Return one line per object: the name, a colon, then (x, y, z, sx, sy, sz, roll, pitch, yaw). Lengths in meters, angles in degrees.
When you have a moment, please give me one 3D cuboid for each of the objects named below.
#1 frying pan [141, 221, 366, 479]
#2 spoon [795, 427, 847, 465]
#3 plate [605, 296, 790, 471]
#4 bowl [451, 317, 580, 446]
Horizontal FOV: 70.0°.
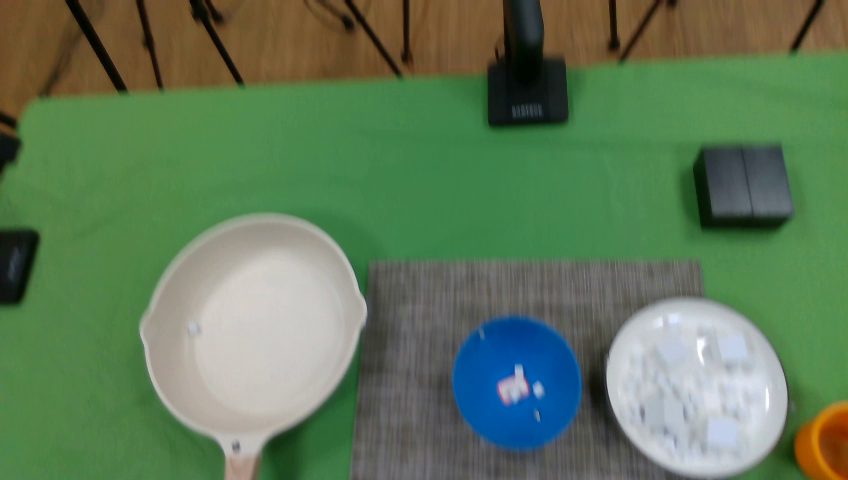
frying pan: (-0.222, 0.207, 0.768, 0.306, 0.104, 0.483, -4, 59, 7)
spoon: (0.497, 0.220, 0.635, 0.022, 0.193, 0.041, 22, 66, -31)
plate: (0.325, 0.171, 0.735, 0.207, 0.039, 0.206, -3, 67, 7)
bowl: (0.112, 0.177, 0.742, 0.151, 0.077, 0.150, -3, 68, 7)
